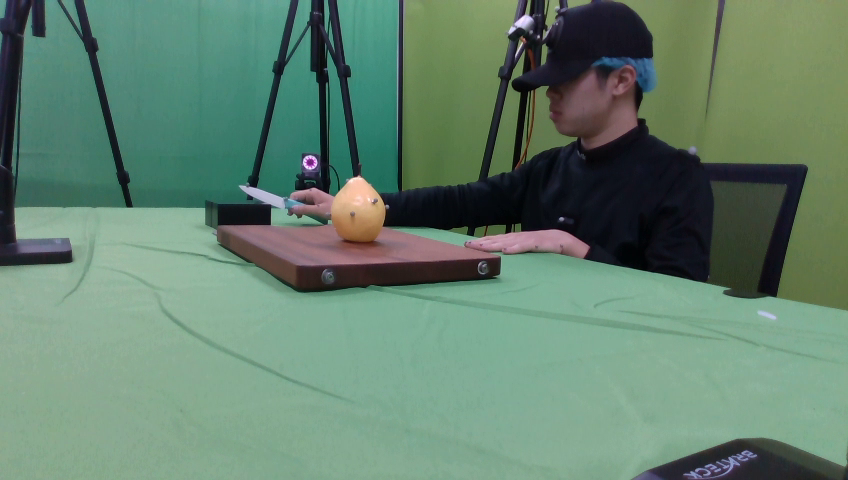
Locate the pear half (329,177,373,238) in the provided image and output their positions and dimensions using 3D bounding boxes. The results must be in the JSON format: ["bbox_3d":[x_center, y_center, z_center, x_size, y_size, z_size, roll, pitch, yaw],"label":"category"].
[{"bbox_3d":[-0.109,-0.047,0.866,0.031,0.088,0.071,8,12,43],"label":"pear half"}]

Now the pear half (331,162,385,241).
[{"bbox_3d":[-0.085,-0.052,0.839,0.055,0.110,0.077,9,14,43],"label":"pear half"}]

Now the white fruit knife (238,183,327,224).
[{"bbox_3d":[-0.287,-0.078,1.248,0.208,0.027,0.016,21,-11,-37],"label":"white fruit knife"}]
